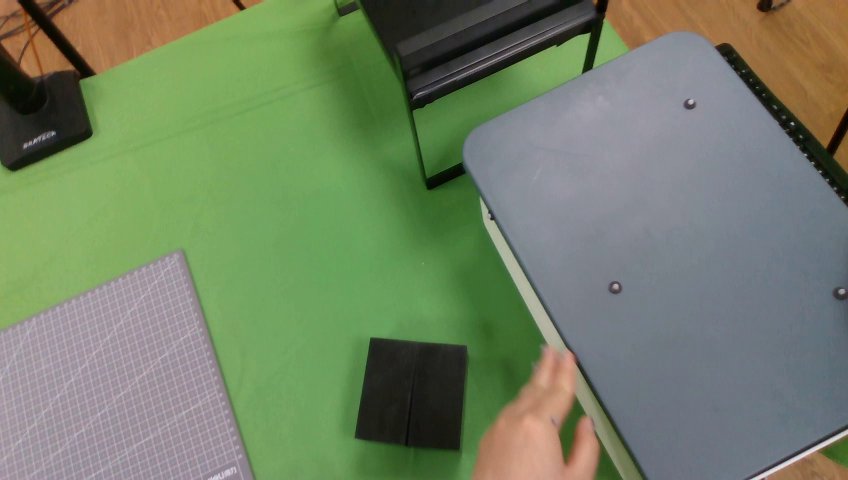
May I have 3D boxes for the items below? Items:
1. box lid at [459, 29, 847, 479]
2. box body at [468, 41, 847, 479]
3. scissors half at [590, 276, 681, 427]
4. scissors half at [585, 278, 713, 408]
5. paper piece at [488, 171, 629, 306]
[{"bbox_3d":[0.215,-0.008,0.517,0.263,0.015,0.368,-26,68,-3],"label":"box lid"},{"bbox_3d":[0.231,0.028,0.587,0.254,0.161,0.361,-25,68,-4],"label":"box body"},{"bbox_3d":[0.213,0.111,0.633,0.040,0.013,0.173,-18,61,0],"label":"scissors half"},{"bbox_3d":[0.232,0.102,0.635,0.040,0.013,0.173,-36,64,-15],"label":"scissors half"},{"bbox_3d":[0.156,-0.005,0.700,0.136,0.009,0.137,-14,80,-6],"label":"paper piece"}]
